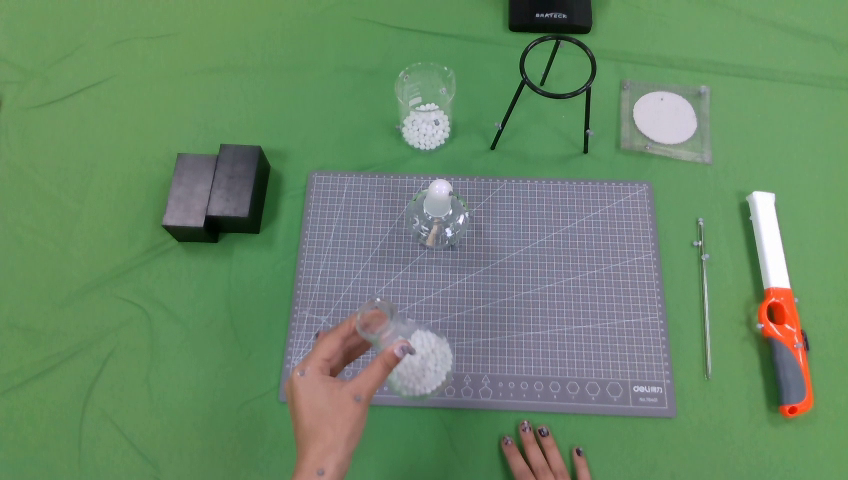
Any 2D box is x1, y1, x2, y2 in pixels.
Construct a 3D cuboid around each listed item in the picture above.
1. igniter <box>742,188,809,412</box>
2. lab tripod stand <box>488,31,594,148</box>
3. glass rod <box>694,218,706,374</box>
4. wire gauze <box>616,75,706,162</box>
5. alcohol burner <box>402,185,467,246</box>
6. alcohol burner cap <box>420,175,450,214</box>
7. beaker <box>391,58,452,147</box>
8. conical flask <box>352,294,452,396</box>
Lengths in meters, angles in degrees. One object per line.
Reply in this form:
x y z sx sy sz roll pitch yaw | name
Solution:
0.418 0.064 0.724 0.057 0.025 0.274 6 68 -9 | igniter
0.152 -0.182 0.766 0.148 0.132 0.147 0 70 1 | lab tripod stand
0.334 0.063 0.735 0.008 0.008 0.198 7 68 3 | glass rod
0.325 -0.170 0.828 0.125 0.011 0.120 9 69 2 | wire gauze
0.013 -0.039 0.717 0.078 0.120 0.077 1 67 -1 | alcohol burner
0.014 -0.054 0.684 0.034 0.048 0.033 4 62 -6 | alcohol burner cap
0.000 -0.174 0.781 0.084 0.101 0.073 -36 72 -14 | beaker
-0.025 0.092 0.556 0.075 0.123 0.074 -9 58 16 | conical flask
